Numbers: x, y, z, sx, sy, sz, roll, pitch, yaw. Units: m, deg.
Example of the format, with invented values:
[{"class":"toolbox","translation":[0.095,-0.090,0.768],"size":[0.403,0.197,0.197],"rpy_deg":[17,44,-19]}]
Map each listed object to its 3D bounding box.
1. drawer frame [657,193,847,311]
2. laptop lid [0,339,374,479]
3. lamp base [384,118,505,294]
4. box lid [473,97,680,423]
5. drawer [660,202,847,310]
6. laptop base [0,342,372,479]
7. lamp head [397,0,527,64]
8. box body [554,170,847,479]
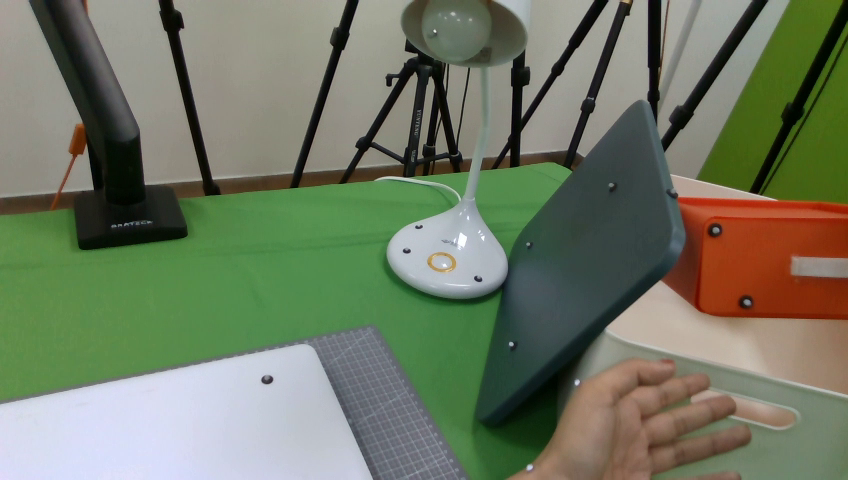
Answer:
[{"class":"drawer frame","translation":[0.310,0.002,0.541],"size":[0.201,0.083,0.213],"rpy_deg":[1,7,5]},{"class":"laptop lid","translation":[-0.217,0.184,0.437],"size":[0.358,0.013,0.239],"rpy_deg":[-7,39,-26]},{"class":"lamp base","translation":[0.041,-0.053,0.755],"size":[0.160,0.181,0.178],"rpy_deg":[14,30,5]},{"class":"box lid","translation":[0.153,0.002,0.643],"size":[0.015,0.264,0.369],"rpy_deg":[34,32,-6]},{"class":"drawer","translation":[0.310,0.004,0.540],"size":[0.194,0.073,0.211],"rpy_deg":[0,8,6]},{"class":"laptop base","translation":[-0.220,0.192,0.445],"size":[0.356,0.023,0.232],"rpy_deg":[-8,41,-28]},{"class":"lamp head","translation":[0.041,-0.232,0.534],"size":[0.112,0.113,0.122],"rpy_deg":[11,72,1]},{"class":"box body","translation":[0.279,0.074,0.647],"size":[0.254,0.161,0.361],"rpy_deg":[14,32,5]}]
